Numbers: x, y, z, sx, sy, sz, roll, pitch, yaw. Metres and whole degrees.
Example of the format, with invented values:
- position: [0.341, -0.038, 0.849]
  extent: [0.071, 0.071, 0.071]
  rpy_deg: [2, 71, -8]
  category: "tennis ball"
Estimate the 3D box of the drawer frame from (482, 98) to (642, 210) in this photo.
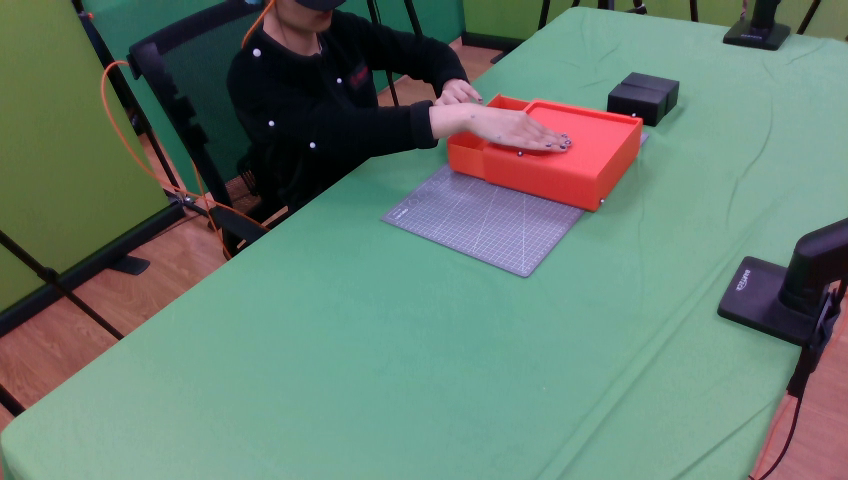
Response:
- position: [0.245, -0.160, 1.073]
  extent: [0.212, 0.083, 0.202]
  rpy_deg: [20, 47, 29]
  category: "drawer frame"

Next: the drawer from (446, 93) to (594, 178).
- position: [0.180, -0.183, 1.113]
  extent: [0.210, 0.073, 0.195]
  rpy_deg: [20, 47, 30]
  category: "drawer"

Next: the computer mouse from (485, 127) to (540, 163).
- position: [0.167, -0.186, 1.140]
  extent: [0.062, 0.041, 0.117]
  rpy_deg: [18, 41, 34]
  category: "computer mouse"
